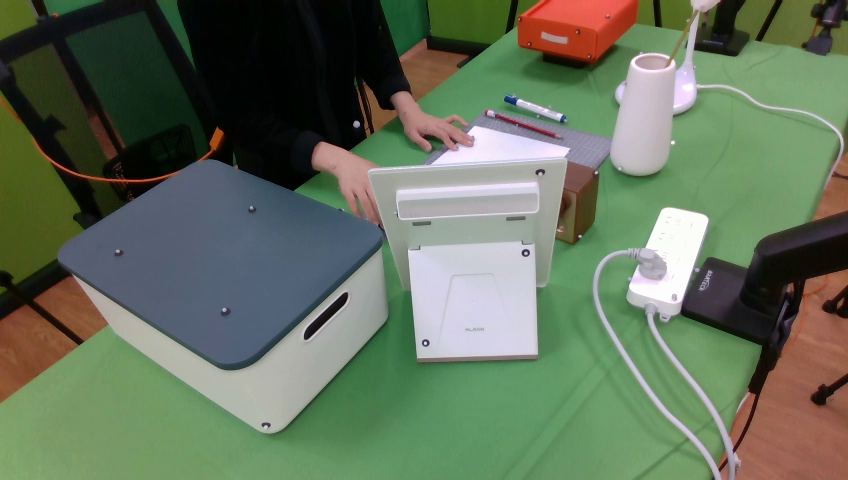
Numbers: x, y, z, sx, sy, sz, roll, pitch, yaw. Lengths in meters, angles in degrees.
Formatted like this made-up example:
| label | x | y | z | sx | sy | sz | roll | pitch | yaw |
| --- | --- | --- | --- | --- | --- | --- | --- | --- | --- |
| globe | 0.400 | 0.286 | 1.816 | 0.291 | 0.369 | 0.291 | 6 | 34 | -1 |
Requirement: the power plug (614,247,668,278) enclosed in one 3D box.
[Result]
| label | x | y | z | sx | sy | sz | roll | pitch | yaw |
| --- | --- | --- | --- | --- | --- | --- | --- | --- | --- |
| power plug | 0.306 | 0.031 | 0.851 | 0.072 | 0.053 | 0.035 | 24 | 49 | 33 |

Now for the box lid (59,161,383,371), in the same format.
| label | x | y | z | sx | sy | sz | roll | pitch | yaw |
| --- | --- | --- | --- | --- | --- | --- | --- | --- | --- |
| box lid | -0.262 | 0.010 | 0.777 | 0.369 | 0.015 | 0.264 | 21 | 48 | 29 |

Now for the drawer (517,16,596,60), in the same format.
| label | x | y | z | sx | sy | sz | roll | pitch | yaw |
| --- | --- | --- | --- | --- | --- | --- | --- | --- | --- |
| drawer | 0.352 | -0.506 | 1.405 | 0.193 | 0.073 | 0.212 | 23 | 49 | 32 |

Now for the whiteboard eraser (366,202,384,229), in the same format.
| label | x | y | z | sx | sy | sz | roll | pitch | yaw |
| --- | --- | --- | --- | --- | --- | --- | --- | --- | --- |
| whiteboard eraser | -0.037 | -0.038 | 1.006 | 0.112 | 0.042 | 0.055 | 17 | 48 | 25 |

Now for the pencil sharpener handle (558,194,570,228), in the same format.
| label | x | y | z | sx | sy | sz | roll | pitch | yaw |
| --- | --- | --- | --- | --- | --- | --- | --- | --- | --- |
| pencil sharpener handle | 0.195 | -0.038 | 0.908 | 0.035 | 0.068 | 0.031 | 24 | 50 | 30 |

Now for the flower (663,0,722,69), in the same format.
| label | x | y | z | sx | sy | sz | roll | pitch | yaw |
| --- | --- | --- | --- | --- | --- | --- | --- | --- | --- |
| flower | 0.379 | -0.261 | 0.965 | 0.044 | 0.362 | 0.038 | 20 | 53 | 5 |

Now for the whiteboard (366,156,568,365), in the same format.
| label | x | y | z | sx | sy | sz | roll | pitch | yaw |
| --- | --- | --- | --- | --- | --- | --- | --- | --- | --- |
| whiteboard | 0.059 | 0.050 | 0.738 | 0.217 | 0.307 | 0.143 | -2 | 60 | 6 |

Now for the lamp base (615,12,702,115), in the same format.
| label | x | y | z | sx | sy | sz | roll | pitch | yaw |
| --- | --- | --- | --- | --- | --- | --- | --- | --- | --- |
| lamp base | 0.484 | -0.363 | 1.211 | 0.180 | 0.181 | 0.159 | -15 | 41 | -14 |

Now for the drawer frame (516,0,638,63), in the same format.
| label | x | y | z | sx | sy | sz | roll | pitch | yaw |
| --- | --- | --- | --- | --- | --- | --- | --- | --- | --- |
| drawer frame | 0.355 | -0.508 | 1.410 | 0.200 | 0.083 | 0.214 | 23 | 51 | 32 |

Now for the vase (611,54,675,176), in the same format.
| label | x | y | z | sx | sy | sz | roll | pitch | yaw |
| --- | --- | --- | --- | --- | --- | --- | --- | --- | --- |
| vase | 0.377 | -0.209 | 1.031 | 0.098 | 0.201 | 0.097 | -3 | 40 | 3 |

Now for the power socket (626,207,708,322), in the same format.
| label | x | y | z | sx | sy | sz | roll | pitch | yaw |
| --- | --- | --- | --- | --- | --- | --- | --- | --- | --- |
| power socket | 0.359 | 0.025 | 0.886 | 0.072 | 0.033 | 0.227 | 16 | 46 | 26 |

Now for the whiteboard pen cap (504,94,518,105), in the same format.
| label | x | y | z | sx | sy | sz | roll | pitch | yaw |
| --- | --- | --- | --- | --- | --- | --- | --- | --- | --- |
| whiteboard pen cap | 0.190 | -0.299 | 1.292 | 0.033 | 0.018 | 0.018 | 30 | 52 | 28 |

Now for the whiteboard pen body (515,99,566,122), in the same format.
| label | x | y | z | sx | sy | sz | roll | pitch | yaw |
| --- | --- | --- | --- | --- | --- | --- | --- | --- | --- |
| whiteboard pen body | 0.234 | -0.274 | 1.262 | 0.139 | 0.017 | 0.017 | 28 | 51 | 29 |

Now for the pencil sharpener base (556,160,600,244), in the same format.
| label | x | y | z | sx | sy | sz | roll | pitch | yaw |
| --- | --- | --- | --- | --- | --- | --- | --- | --- | --- |
| pencil sharpener base | 0.228 | -0.057 | 0.945 | 0.061 | 0.107 | 0.077 | 24 | 50 | 31 |

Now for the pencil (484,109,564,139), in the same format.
| label | x | y | z | sx | sy | sz | roll | pitch | yaw |
| --- | --- | --- | --- | --- | --- | --- | --- | --- | --- |
| pencil | 0.201 | -0.235 | 1.229 | 0.192 | 0.012 | 0.012 | 28 | 51 | 32 |

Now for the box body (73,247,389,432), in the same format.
| label | x | y | z | sx | sy | sz | roll | pitch | yaw |
| --- | --- | --- | --- | --- | --- | --- | --- | --- | --- |
| box body | -0.255 | 0.065 | 0.827 | 0.361 | 0.161 | 0.255 | 21 | 48 | 29 |
